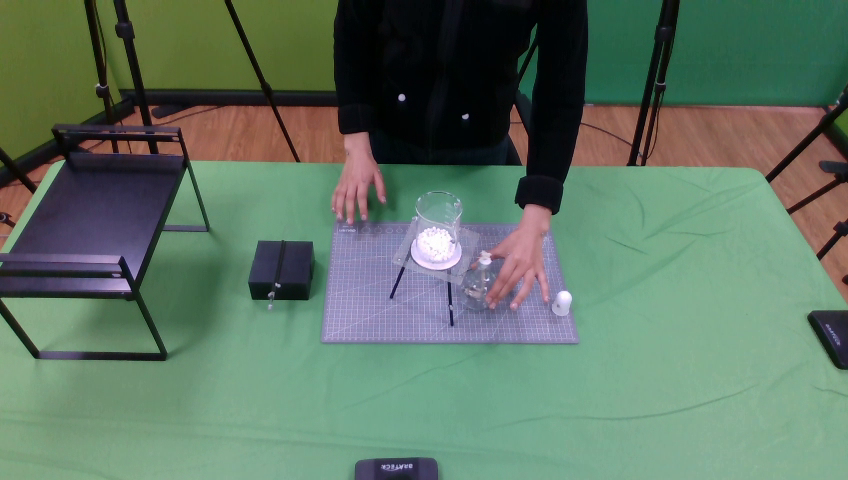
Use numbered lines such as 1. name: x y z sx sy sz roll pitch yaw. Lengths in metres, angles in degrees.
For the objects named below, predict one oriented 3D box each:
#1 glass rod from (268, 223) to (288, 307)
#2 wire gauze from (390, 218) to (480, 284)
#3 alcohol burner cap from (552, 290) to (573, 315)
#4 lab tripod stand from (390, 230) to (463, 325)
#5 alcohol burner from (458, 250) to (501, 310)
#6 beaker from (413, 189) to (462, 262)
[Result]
1. glass rod: -0.259 0.041 1.080 0.008 0.008 0.198 2 46 -2
2. wire gauze: 0.020 0.013 1.010 0.125 0.011 0.121 14 46 14
3. alcohol burner cap: 0.251 0.109 1.088 0.034 0.048 0.033 2 47 -2
4. lab tripod stand: 0.014 0.060 1.056 0.148 0.132 0.147 1 48 -1
5. alcohol burner: 0.100 0.066 1.067 0.078 0.119 0.077 4 41 -3
6. beaker: 0.022 -0.018 0.973 0.074 0.101 0.083 -19 51 -18
